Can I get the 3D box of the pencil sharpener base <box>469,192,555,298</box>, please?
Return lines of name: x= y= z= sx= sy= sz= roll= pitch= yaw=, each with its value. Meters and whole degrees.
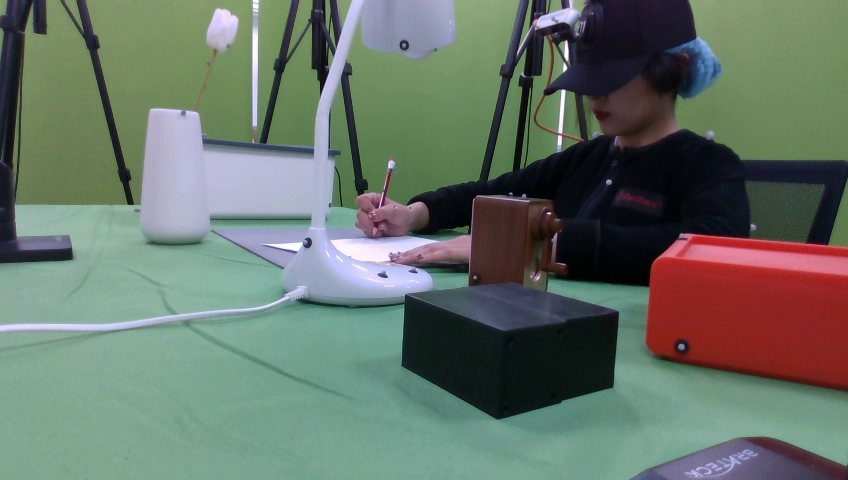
pencil sharpener base: x=0.097 y=0.003 z=0.652 sx=0.076 sy=0.107 sz=0.061 roll=8 pitch=9 yaw=38

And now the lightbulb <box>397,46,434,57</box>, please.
lightbulb: x=-0.017 y=-0.264 z=0.692 sx=0.059 sy=0.108 sz=0.059 roll=-9 pitch=29 yaw=5

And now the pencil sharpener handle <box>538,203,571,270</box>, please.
pencil sharpener handle: x=0.137 y=-0.003 z=0.619 sx=0.030 sy=0.067 sz=0.036 roll=8 pitch=6 yaw=38

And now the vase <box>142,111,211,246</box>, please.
vase: x=-0.378 y=-0.093 z=0.920 sx=0.098 sy=0.200 sz=0.098 roll=2 pitch=9 yaw=0

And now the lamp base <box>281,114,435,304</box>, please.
lamp base: x=-0.071 y=-0.034 z=0.614 sx=0.160 sy=0.180 sz=0.180 roll=6 pitch=10 yaw=27

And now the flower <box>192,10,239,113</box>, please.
flower: x=-0.354 y=-0.174 z=0.915 sx=0.038 sy=0.361 sz=0.044 roll=18 pitch=-4 yaw=12

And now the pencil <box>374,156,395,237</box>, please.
pencil: x=-0.070 y=-0.080 z=1.071 sx=0.012 sy=0.012 sz=0.194 roll=3 pitch=51 yaw=8

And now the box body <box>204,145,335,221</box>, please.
box body: x=-0.411 y=-0.135 z=1.386 sx=0.366 sy=0.160 sz=0.253 roll=-2 pitch=9 yaw=-29

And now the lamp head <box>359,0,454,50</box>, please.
lamp head: x=-0.024 y=-0.282 z=0.675 sx=0.112 sy=0.123 sz=0.112 roll=-3 pitch=38 yaw=3

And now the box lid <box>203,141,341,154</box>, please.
box lid: x=-0.396 y=-0.212 z=1.373 sx=0.373 sy=0.015 sz=0.262 roll=-1 pitch=9 yaw=-29

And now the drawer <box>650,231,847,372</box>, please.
drawer: x=0.303 y=0.044 z=0.499 sx=0.194 sy=0.073 sz=0.212 roll=7 pitch=9 yaw=27

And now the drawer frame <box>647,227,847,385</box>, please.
drawer frame: x=0.303 y=0.043 z=0.495 sx=0.201 sy=0.082 sz=0.214 roll=6 pitch=9 yaw=26
